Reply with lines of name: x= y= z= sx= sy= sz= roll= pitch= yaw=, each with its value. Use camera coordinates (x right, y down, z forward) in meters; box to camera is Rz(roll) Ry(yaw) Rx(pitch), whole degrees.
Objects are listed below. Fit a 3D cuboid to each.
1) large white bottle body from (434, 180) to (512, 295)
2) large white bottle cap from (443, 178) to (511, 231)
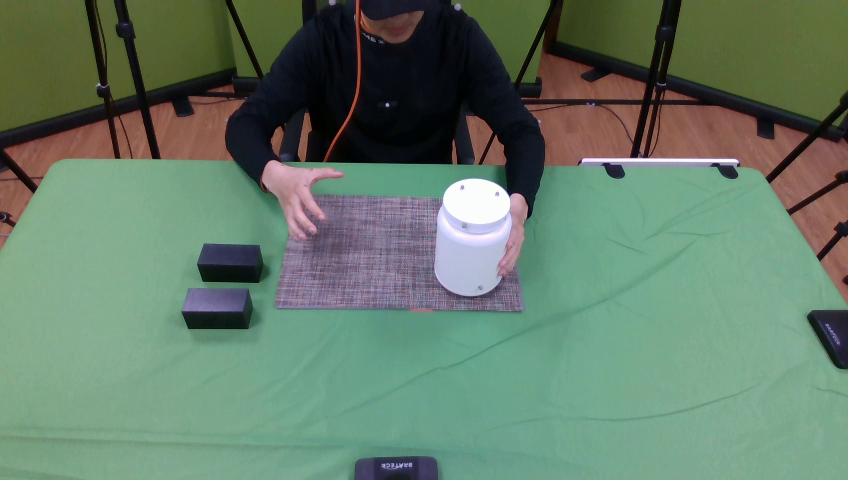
large white bottle body: x=0.086 y=-0.004 z=1.080 sx=0.130 sy=0.185 sz=0.130 roll=1 pitch=47 yaw=-1
large white bottle cap: x=0.088 y=-0.062 z=1.019 sx=0.115 sy=0.018 sz=0.114 roll=1 pitch=47 yaw=-1
